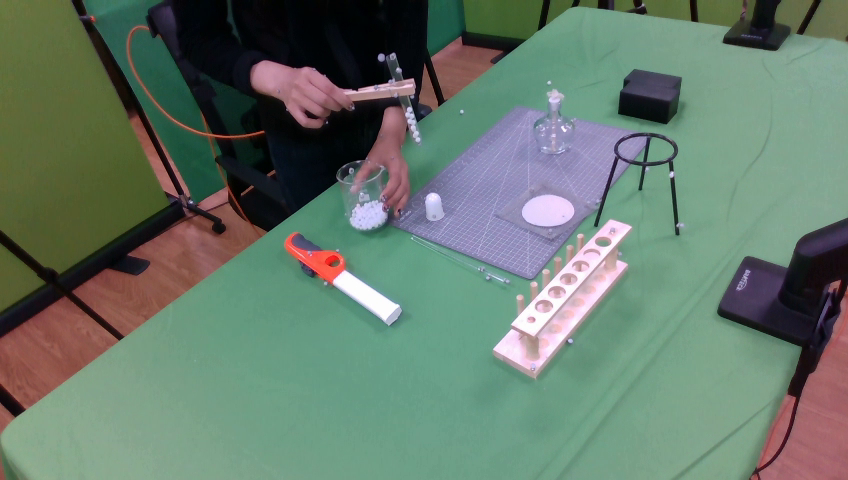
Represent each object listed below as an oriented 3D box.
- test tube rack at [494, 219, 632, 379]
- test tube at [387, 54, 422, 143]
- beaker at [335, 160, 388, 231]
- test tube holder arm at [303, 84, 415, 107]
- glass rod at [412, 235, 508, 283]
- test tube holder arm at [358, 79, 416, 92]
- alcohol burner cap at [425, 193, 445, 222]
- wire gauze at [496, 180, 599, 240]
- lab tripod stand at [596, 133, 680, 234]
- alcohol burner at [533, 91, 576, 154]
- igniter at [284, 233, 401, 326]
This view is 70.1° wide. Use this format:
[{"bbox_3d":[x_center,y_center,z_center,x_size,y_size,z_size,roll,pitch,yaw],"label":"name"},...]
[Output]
[{"bbox_3d":[0.191,0.068,0.818,0.066,0.085,0.243,25,51,35],"label":"test tube rack"},{"bbox_3d":[-0.029,-0.211,0.920,0.017,0.151,0.017,-11,41,10],"label":"test tube"},{"bbox_3d":[-0.097,-0.072,1.005,0.084,0.100,0.073,-19,39,-15],"label":"beaker"},{"bbox_3d":[-0.100,-0.219,0.918,0.178,0.015,0.013,-4,41,13],"label":"test tube holder arm"},{"bbox_3d":[0.051,0.028,0.951,0.198,0.008,0.008,25,51,37],"label":"glass rod"},{"bbox_3d":[-0.056,-0.228,0.914,0.088,0.015,0.010,-9,41,8],"label":"test tube holder arm"},{"bbox_3d":[0.017,-0.058,1.029,0.034,0.048,0.033,-6,40,5],"label":"alcohol burner cap"},{"bbox_3d":[0.206,-0.050,1.012,0.125,0.011,0.120,-34,45,-26],"label":"wire gauze"},{"bbox_3d":[0.338,-0.091,0.940,0.148,0.132,0.147,-7,39,6],"label":"lab tripod stand"},{"bbox_3d":[0.243,-0.222,1.124,0.078,0.119,0.077,-4,39,4],"label":"alcohol burner"},{"bbox_3d":[-0.136,0.054,0.942,0.274,0.025,0.057,30,64,37],"label":"igniter"}]
